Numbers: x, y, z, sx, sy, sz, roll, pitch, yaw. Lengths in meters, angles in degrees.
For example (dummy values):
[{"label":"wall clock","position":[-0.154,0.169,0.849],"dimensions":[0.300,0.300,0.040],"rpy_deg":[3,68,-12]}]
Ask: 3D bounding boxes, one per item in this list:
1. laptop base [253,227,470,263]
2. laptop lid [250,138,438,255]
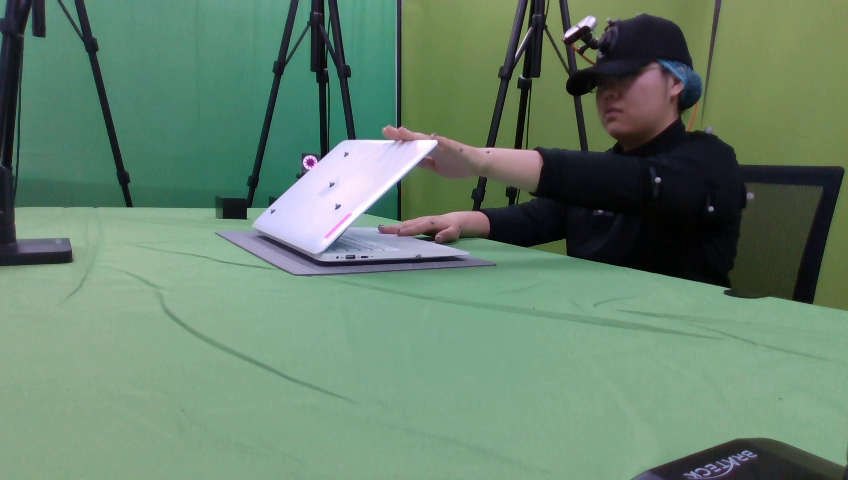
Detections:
[{"label":"laptop base","position":[-0.117,0.005,0.970],"dimensions":[0.237,0.023,0.352],"rpy_deg":[2,6,-30]},{"label":"laptop lid","position":[-0.142,-0.083,0.942],"dimensions":[0.242,0.013,0.355],"rpy_deg":[-44,26,-15]}]
